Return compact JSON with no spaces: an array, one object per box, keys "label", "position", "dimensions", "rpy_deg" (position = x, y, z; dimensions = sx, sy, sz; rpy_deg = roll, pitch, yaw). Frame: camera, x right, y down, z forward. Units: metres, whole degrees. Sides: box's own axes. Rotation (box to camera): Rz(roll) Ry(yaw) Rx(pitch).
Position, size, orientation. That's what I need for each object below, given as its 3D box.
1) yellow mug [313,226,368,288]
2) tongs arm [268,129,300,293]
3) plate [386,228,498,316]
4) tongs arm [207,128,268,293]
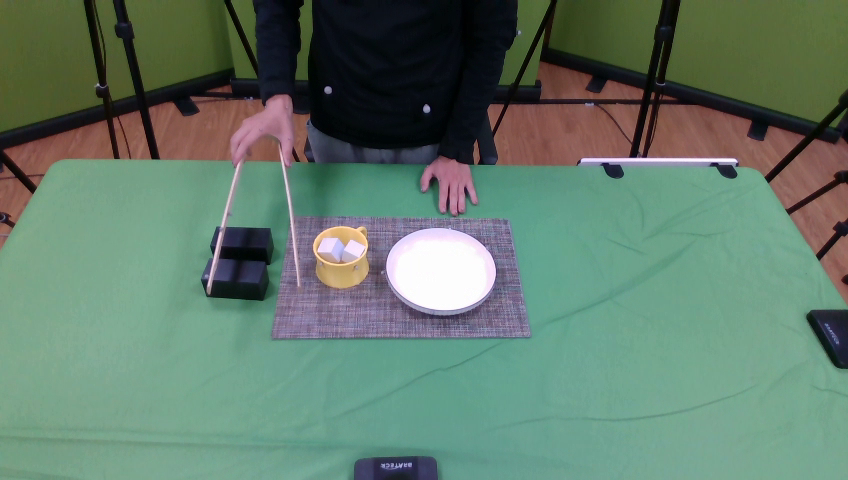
[{"label":"yellow mug","position":[-0.146,0.021,1.132],"dimensions":[0.099,0.064,0.130],"rpy_deg":[24,49,18]},{"label":"tongs arm","position":[-0.256,-0.067,1.112],"dimensions":[0.028,0.028,0.385],"rpy_deg":[-9,54,-10]},{"label":"plate","position":[0.032,0.062,1.126],"dimensions":[0.208,0.039,0.206],"rpy_deg":[2,46,-2]},{"label":"tongs arm","position":[-0.332,-0.067,1.099],"dimensions":[0.051,0.026,0.382],"rpy_deg":[2,51,-6]}]
